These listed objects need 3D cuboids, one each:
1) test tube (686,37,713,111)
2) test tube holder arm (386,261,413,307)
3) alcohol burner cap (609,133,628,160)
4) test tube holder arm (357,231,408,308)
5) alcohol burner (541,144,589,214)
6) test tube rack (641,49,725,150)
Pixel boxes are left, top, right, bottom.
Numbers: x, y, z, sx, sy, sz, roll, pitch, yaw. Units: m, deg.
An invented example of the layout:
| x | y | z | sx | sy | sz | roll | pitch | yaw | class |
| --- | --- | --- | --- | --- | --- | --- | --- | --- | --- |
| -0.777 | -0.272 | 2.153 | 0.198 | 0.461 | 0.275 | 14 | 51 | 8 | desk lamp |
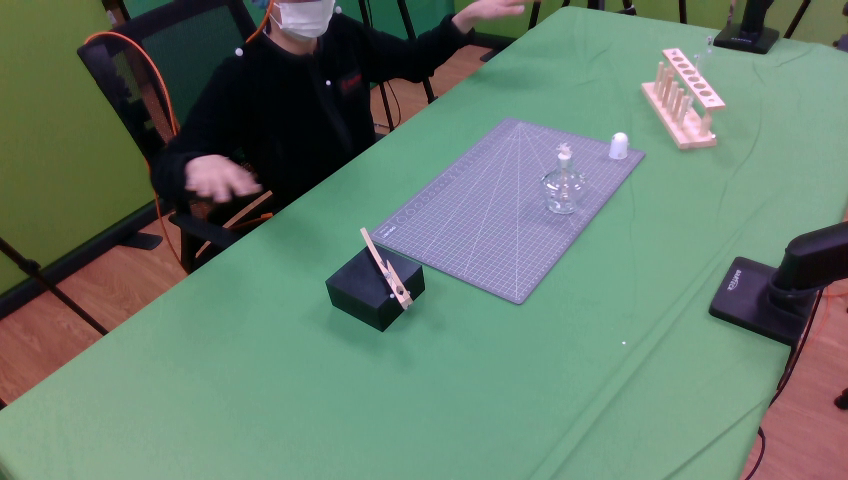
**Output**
| x | y | z | sx | sy | sz | roll | pitch | yaw | class |
| --- | --- | --- | --- | --- | --- | --- | --- | --- | --- |
| 0.509 | -0.306 | 1.129 | 0.017 | 0.151 | 0.017 | -1 | 45 | 2 | test tube |
| -0.037 | 0.060 | 0.837 | 0.010 | 0.015 | 0.087 | -22 | 42 | -14 | test tube holder arm |
| 0.356 | -0.172 | 1.100 | 0.034 | 0.048 | 0.033 | -5 | 41 | 5 | alcohol burner cap |
| -0.062 | 0.038 | 0.868 | 0.013 | 0.015 | 0.177 | -24 | 42 | -15 | test tube holder arm |
| 0.229 | -0.102 | 0.983 | 0.078 | 0.119 | 0.077 | -6 | 41 | 5 | alcohol burner |
| 0.495 | -0.279 | 1.175 | 0.067 | 0.085 | 0.241 | -5 | 41 | 3 | test tube rack |
